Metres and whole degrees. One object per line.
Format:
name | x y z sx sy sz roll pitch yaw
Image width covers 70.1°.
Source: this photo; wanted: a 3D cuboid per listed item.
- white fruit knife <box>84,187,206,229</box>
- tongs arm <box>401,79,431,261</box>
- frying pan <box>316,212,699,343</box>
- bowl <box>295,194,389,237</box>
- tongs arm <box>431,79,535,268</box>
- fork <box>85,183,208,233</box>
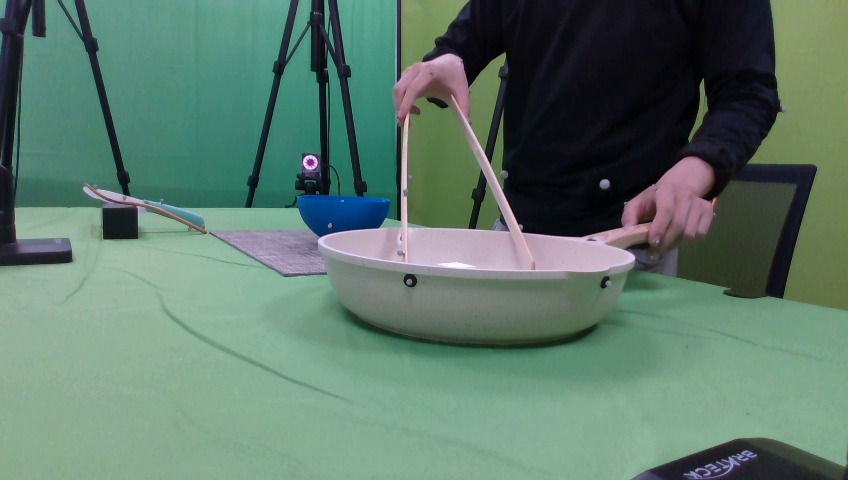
white fruit knife | -0.488 -0.059 1.071 0.208 0.027 0.016 17 4 -33
tongs arm | -0.006 -0.097 0.761 0.051 0.026 0.383 -2 43 -2
frying pan | 0.133 0.013 0.629 0.490 0.102 0.305 -12 14 -30
bowl | -0.132 -0.032 0.980 0.151 0.077 0.151 2 7 0
tongs arm | 0.068 -0.101 0.768 0.028 0.028 0.386 -12 45 -7
fork | -0.462 -0.051 1.020 0.208 0.018 0.028 22 -8 -37
